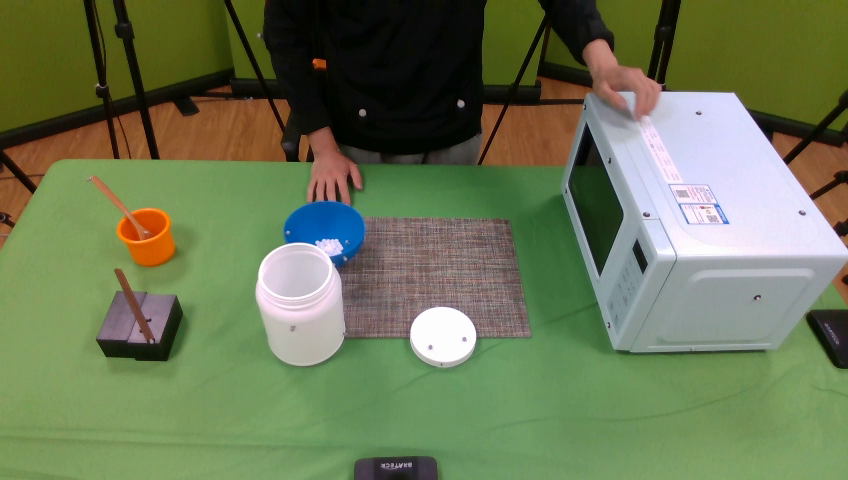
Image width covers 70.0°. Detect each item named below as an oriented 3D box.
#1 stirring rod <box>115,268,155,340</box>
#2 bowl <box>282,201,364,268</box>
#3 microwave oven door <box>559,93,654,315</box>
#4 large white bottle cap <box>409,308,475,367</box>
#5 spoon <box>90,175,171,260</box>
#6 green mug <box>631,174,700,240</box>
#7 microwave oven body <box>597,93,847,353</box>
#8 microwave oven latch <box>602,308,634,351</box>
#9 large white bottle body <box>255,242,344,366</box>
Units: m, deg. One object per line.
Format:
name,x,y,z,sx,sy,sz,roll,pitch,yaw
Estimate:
stirring rod,-0.478,0.103,0.999,0.014,0.006,0.175,7,32,-49
bowl,-0.187,0.005,1.137,0.151,0.077,0.150,3,46,-3
microwave oven door,0.327,-0.074,1.123,0.039,0.245,0.353,-1,46,-5
large white bottle cap,0.031,0.165,1.041,0.115,0.018,0.114,2,46,-2
spoon,-0.539,-0.042,1.111,0.021,0.194,0.041,-14,26,52
green mug,0.455,-0.059,1.155,0.125,0.105,0.092,-13,47,-11
microwave oven body,0.475,-0.041,1.110,0.326,0.261,0.438,-1,45,-4
microwave oven latch,0.332,0.153,1.044,0.030,0.029,0.078,-1,45,-4
large white bottle body,-0.196,0.102,0.967,0.131,0.185,0.130,2,49,-2
